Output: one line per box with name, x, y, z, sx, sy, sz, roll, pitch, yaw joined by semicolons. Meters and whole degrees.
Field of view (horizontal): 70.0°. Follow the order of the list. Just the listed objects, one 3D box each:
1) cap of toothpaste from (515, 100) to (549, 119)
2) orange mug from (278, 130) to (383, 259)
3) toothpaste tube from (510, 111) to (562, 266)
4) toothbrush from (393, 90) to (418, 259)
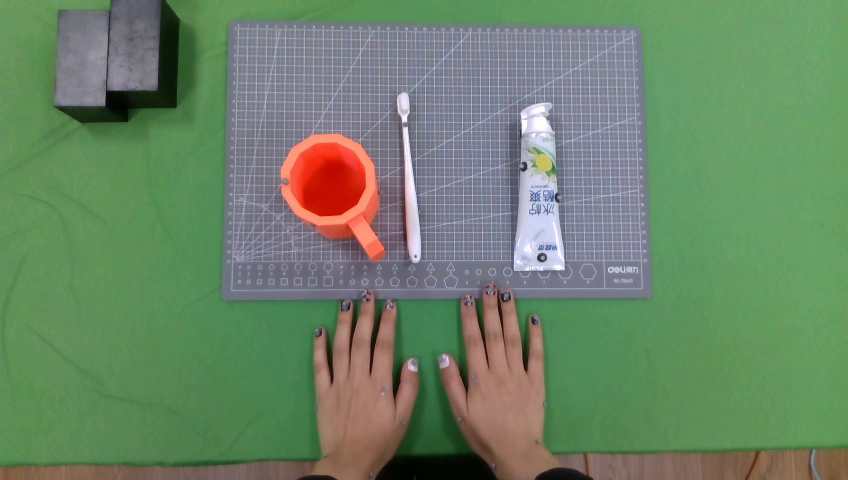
cap of toothpaste;0.115;-0.137;0.641;0.037;0.037;0.011;-13;81;-4
orange mug;-0.081;-0.038;0.591;0.083;0.101;0.126;-34;82;-6
toothpaste tube;0.116;-0.055;0.639;0.055;0.034;0.165;-2;88;4
toothbrush;-0.019;-0.070;0.638;0.014;0.016;0.181;-3;86;-19
